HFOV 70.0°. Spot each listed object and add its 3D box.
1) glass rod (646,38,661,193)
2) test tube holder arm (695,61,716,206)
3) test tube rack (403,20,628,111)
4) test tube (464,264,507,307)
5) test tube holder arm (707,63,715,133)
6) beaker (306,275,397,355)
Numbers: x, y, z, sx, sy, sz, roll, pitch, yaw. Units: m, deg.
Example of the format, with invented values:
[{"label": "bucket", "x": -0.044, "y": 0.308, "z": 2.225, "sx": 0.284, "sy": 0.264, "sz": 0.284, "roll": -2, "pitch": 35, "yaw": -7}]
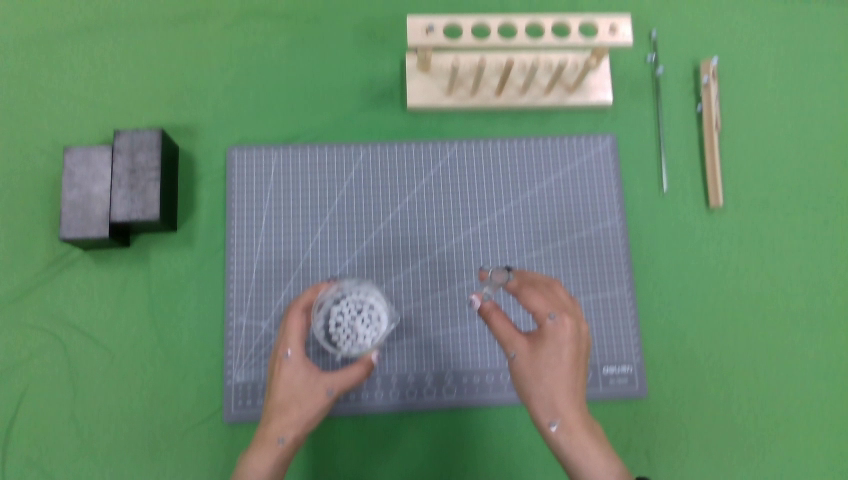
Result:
[{"label": "glass rod", "x": 0.275, "y": -0.152, "z": 0.728, "sx": 0.008, "sy": 0.008, "sz": 0.199, "roll": 2, "pitch": 78, "yaw": -3}, {"label": "test tube holder arm", "x": 0.334, "y": -0.127, "z": 0.718, "sx": 0.013, "sy": 0.015, "sz": 0.177, "roll": 11, "pitch": 76, "yaw": -31}, {"label": "test tube rack", "x": 0.098, "y": -0.196, "z": 0.688, "sx": 0.242, "sy": 0.085, "sz": 0.066, "roll": -1, "pitch": 77, "yaw": -4}, {"label": "test tube", "x": 0.051, "y": 0.043, "z": 0.528, "sx": 0.017, "sy": 0.151, "sz": 0.017, "roll": 1, "pitch": 76, "yaw": -3}, {"label": "test tube holder arm", "x": 0.341, "y": -0.170, "z": 0.730, "sx": 0.010, "sy": 0.015, "sz": 0.087, "roll": 11, "pitch": 75, "yaw": -31}, {"label": "beaker", "x": -0.070, "y": 0.079, "z": 0.609, "sx": 0.084, "sy": 0.100, "sz": 0.073, "roll": 2, "pitch": 78, "yaw": -3}]
